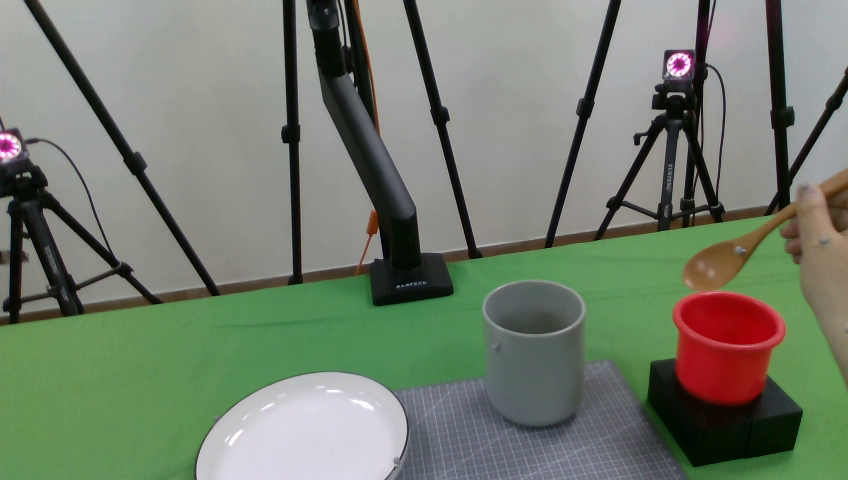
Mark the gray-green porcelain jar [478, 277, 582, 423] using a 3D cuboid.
[{"bbox_3d":[0.112,0.119,0.640,0.106,0.127,0.105,-4,28,3],"label":"gray-green porcelain jar"}]

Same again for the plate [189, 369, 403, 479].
[{"bbox_3d":[-0.122,0.210,0.605,0.207,0.039,0.206,-4,27,2],"label":"plate"}]

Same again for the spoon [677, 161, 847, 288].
[{"bbox_3d":[0.278,-0.018,0.474,0.022,0.194,0.041,16,50,-22],"label":"spoon"}]
